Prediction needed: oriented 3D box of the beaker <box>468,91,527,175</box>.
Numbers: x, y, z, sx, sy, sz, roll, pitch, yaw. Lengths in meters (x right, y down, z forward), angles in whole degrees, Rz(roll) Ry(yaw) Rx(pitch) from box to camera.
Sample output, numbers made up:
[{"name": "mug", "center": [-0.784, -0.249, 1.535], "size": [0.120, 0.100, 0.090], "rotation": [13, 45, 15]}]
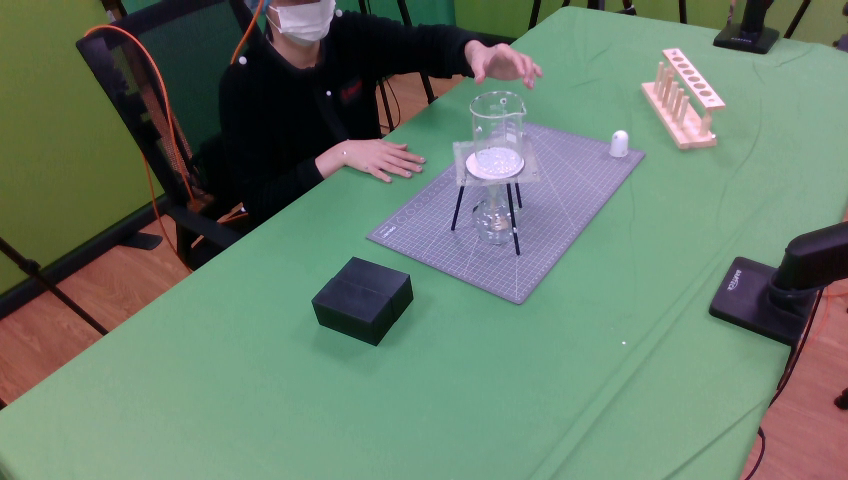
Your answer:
[{"name": "beaker", "center": [0.108, -0.151, 0.865], "size": [0.083, 0.101, 0.074], "rotation": [16, 47, 26]}]

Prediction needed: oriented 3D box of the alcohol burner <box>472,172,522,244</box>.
[{"name": "alcohol burner", "center": [0.112, -0.053, 0.942], "size": [0.078, 0.119, 0.077], "rotation": [-6, 40, 5]}]

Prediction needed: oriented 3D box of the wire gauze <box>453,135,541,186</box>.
[{"name": "wire gauze", "center": [0.106, -0.118, 0.903], "size": [0.125, 0.011, 0.121], "rotation": [-6, 39, 7]}]

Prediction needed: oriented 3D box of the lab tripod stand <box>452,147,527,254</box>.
[{"name": "lab tripod stand", "center": [0.111, -0.066, 0.943], "size": [0.148, 0.132, 0.147], "rotation": [-5, 42, 5]}]

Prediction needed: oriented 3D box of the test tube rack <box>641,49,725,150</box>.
[{"name": "test tube rack", "center": [0.495, -0.279, 1.175], "size": [0.067, 0.085, 0.241], "rotation": [-5, 41, 3]}]

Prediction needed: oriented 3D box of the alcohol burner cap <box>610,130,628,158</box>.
[{"name": "alcohol burner cap", "center": [0.359, -0.177, 1.106], "size": [0.034, 0.048, 0.033], "rotation": [-5, 41, 5]}]
